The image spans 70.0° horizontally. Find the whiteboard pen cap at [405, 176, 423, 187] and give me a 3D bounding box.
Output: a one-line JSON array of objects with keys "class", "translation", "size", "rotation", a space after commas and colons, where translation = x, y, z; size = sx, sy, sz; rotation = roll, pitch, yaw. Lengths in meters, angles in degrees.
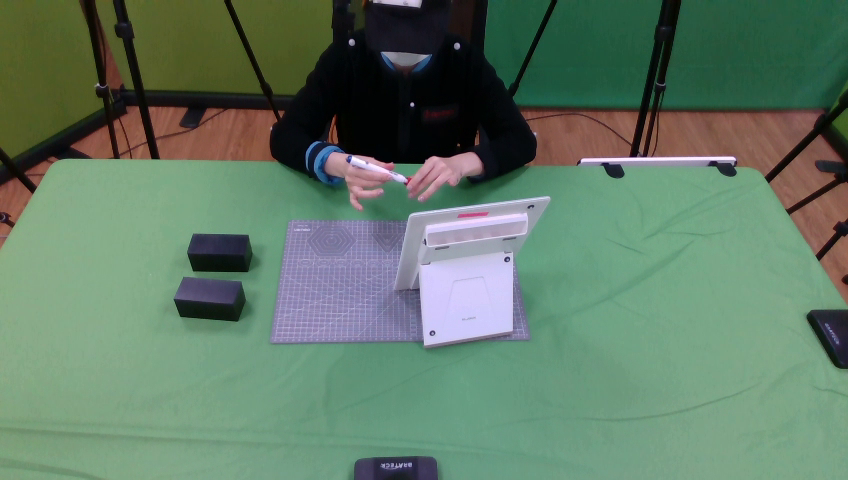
[{"class": "whiteboard pen cap", "translation": [-0.020, -0.113, 1.174], "size": [0.032, 0.017, 0.017], "rotation": [11, 45, -12]}]

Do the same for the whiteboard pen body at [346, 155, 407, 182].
[{"class": "whiteboard pen body", "translation": [-0.082, -0.132, 1.149], "size": [0.141, 0.017, 0.016], "rotation": [17, 41, -24]}]

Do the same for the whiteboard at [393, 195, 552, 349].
[{"class": "whiteboard", "translation": [0.077, 0.071, 0.977], "size": [0.217, 0.306, 0.143], "rotation": [-7, 66, -11]}]
